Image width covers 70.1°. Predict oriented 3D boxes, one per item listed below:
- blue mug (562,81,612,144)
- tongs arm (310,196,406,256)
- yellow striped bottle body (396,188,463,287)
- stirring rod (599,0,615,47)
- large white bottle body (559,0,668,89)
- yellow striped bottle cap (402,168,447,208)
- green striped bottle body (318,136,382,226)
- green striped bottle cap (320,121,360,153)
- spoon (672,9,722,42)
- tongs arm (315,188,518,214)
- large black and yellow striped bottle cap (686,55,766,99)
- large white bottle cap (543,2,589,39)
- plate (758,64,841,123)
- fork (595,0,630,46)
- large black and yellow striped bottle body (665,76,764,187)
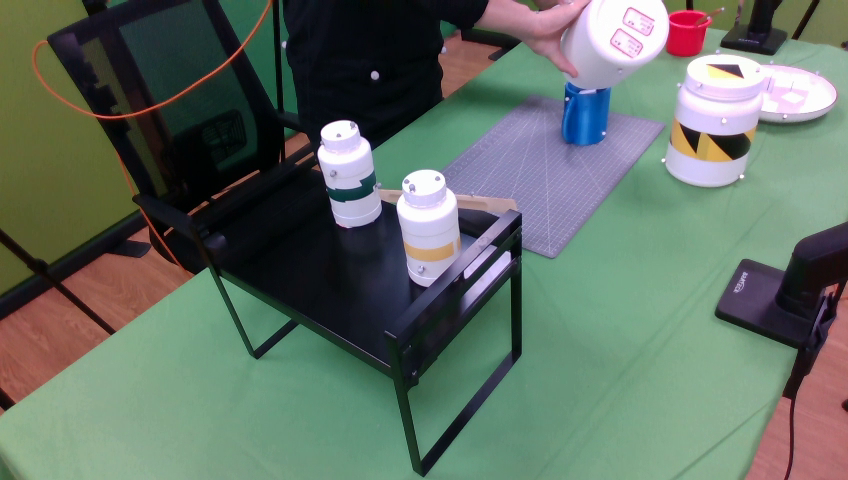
[{"bbox_3d":[0.298,-0.240,1.143,0.081,0.106,0.117,30,54,36],"label":"blue mug"},{"bbox_3d":[-0.078,-0.012,0.944,0.028,0.028,0.384,-43,39,-23],"label":"tongs arm"},{"bbox_3d":[0.006,-0.013,0.638,0.063,0.121,0.062,-5,41,4],"label":"yellow striped bottle body"},{"bbox_3d":[0.437,-0.551,1.462,0.014,0.006,0.175,-11,83,1],"label":"stirring rod"},{"bbox_3d":[0.304,-0.327,1.004,0.131,0.130,0.184,-12,1,-5],"label":"large white bottle body"},{"bbox_3d":[0.001,-0.052,0.605,0.044,0.019,0.044,-5,43,5],"label":"yellow striped bottle cap"},{"bbox_3d":[-0.090,-0.080,0.733,0.063,0.120,0.063,-5,41,4],"label":"green striped bottle body"},{"bbox_3d":[-0.097,-0.120,0.699,0.044,0.020,0.044,-3,40,3],"label":"green striped bottle cap"},{"bbox_3d":[0.606,-0.476,1.345,0.042,0.021,0.193,-6,-3,-2],"label":"spoon"},{"bbox_3d":[-0.028,-0.060,0.988,0.382,0.027,0.051,9,45,36],"label":"tongs arm"},{"bbox_3d":[0.474,-0.258,0.952,0.115,0.019,0.114,-5,41,5],"label":"large black and yellow striped bottle cap"},{"bbox_3d":[0.295,-0.434,1.203,0.114,0.115,0.018,1,80,10],"label":"large white bottle cap"},{"bbox_3d":[0.695,-0.283,1.189,0.207,0.039,0.206,-4,40,4],"label":"plate"},{"bbox_3d":[0.480,-0.556,1.453,0.028,0.019,0.207,41,103,40],"label":"fork"},{"bbox_3d":[0.482,-0.196,1.008,0.131,0.185,0.130,-4,41,4],"label":"large black and yellow striped bottle body"}]
